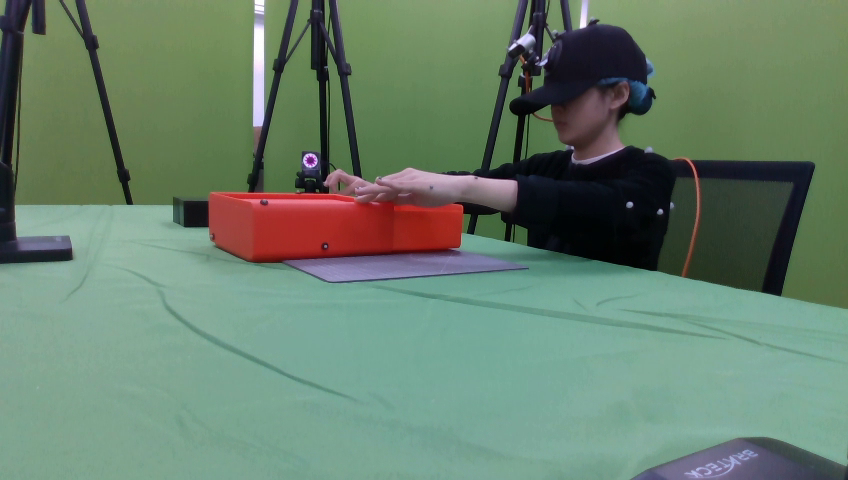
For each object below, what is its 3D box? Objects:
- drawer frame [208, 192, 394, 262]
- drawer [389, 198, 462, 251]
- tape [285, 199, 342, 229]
[{"bbox_3d":[-0.185,-0.026,0.900,0.215,0.082,0.200,-3,10,-35],"label":"drawer frame"},{"bbox_3d":[-0.078,-0.028,0.974,0.213,0.073,0.193,-2,10,-34],"label":"drawer"},{"bbox_3d":[-0.223,-0.054,1.220,0.117,0.052,0.117,2,7,0],"label":"tape"}]
